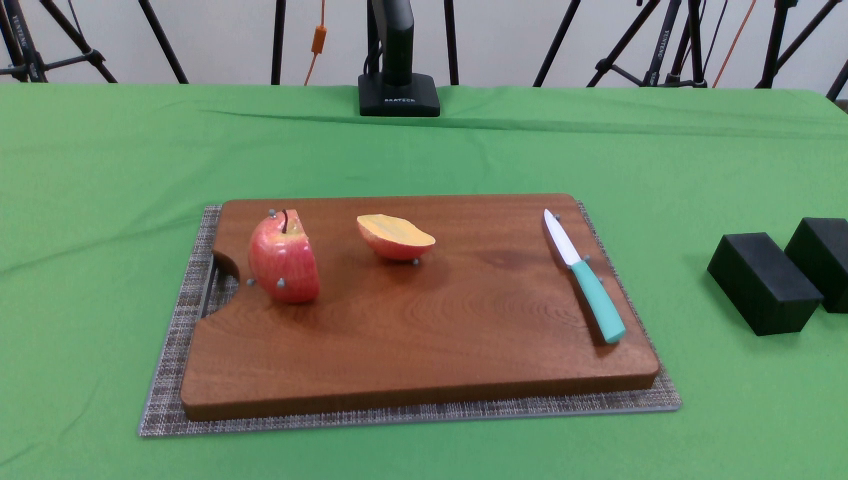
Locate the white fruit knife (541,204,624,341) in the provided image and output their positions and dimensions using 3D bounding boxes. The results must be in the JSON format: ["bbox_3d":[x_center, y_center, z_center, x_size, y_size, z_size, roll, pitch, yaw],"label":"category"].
[{"bbox_3d":[0.154,0.022,0.608,0.027,0.016,0.205,9,37,-18],"label":"white fruit knife"}]

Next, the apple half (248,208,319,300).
[{"bbox_3d":[-0.130,0.017,0.545,0.053,0.075,0.080,-17,49,-17],"label":"apple half"}]

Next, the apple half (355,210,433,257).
[{"bbox_3d":[-0.035,-0.001,0.599,0.081,0.033,0.081,18,19,-6],"label":"apple half"}]
